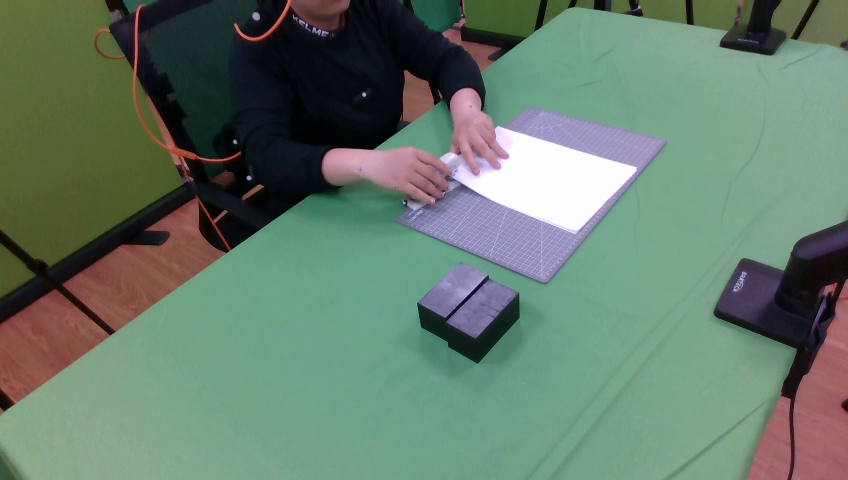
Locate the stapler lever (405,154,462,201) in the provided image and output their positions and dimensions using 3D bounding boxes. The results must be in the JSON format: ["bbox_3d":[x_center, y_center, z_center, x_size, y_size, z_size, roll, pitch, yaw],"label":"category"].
[{"bbox_3d":[0.018,-0.112,1.066,0.118,0.040,0.026,-32,52,-25],"label":"stapler lever"}]

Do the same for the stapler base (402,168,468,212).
[{"bbox_3d":[0.021,-0.100,1.082,0.131,0.024,0.041,-35,53,-21],"label":"stapler base"}]
